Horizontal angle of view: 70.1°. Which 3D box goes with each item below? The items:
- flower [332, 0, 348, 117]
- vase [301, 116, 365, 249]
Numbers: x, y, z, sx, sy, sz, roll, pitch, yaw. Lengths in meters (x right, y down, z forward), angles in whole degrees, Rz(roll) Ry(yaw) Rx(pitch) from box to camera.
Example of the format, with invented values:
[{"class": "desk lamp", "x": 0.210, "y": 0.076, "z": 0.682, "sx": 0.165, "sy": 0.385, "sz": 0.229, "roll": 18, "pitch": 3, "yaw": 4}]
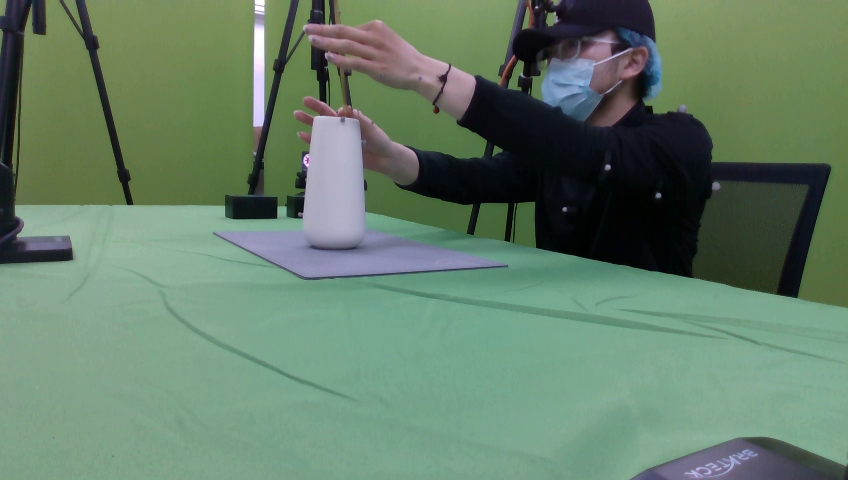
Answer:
[{"class": "flower", "x": -0.127, "y": -0.247, "z": 0.928, "sx": 0.038, "sy": 0.361, "sz": 0.044, "roll": 10, "pitch": 20, "yaw": 43}, {"class": "vase", "x": -0.139, "y": -0.088, "z": 0.930, "sx": 0.098, "sy": 0.200, "sz": 0.098, "roll": 2, "pitch": 9, "yaw": 0}]
